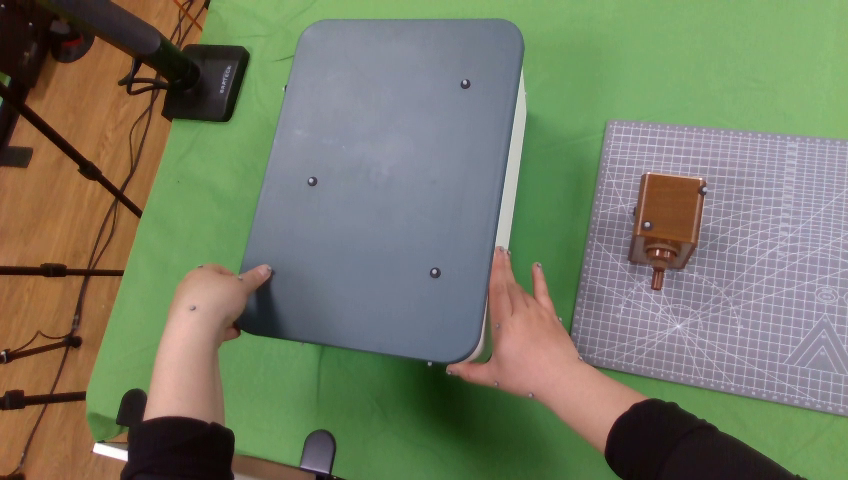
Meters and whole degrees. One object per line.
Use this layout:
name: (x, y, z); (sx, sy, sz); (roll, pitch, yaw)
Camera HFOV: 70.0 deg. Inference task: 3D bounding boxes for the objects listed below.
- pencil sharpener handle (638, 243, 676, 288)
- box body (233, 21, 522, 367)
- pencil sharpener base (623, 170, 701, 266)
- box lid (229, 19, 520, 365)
pencil sharpener handle: (0.237, 0.028, 0.620); (0.036, 0.068, 0.030); (7, 76, 25)
box body: (-0.032, -0.047, 0.699); (0.253, 0.161, 0.362); (5, 75, 16)
pencil sharpener base: (0.249, -0.017, 0.643); (0.061, 0.108, 0.076); (9, 77, 17)
box lid: (-0.049, -0.070, 0.630); (0.262, 0.015, 0.369); (5, 75, 15)
